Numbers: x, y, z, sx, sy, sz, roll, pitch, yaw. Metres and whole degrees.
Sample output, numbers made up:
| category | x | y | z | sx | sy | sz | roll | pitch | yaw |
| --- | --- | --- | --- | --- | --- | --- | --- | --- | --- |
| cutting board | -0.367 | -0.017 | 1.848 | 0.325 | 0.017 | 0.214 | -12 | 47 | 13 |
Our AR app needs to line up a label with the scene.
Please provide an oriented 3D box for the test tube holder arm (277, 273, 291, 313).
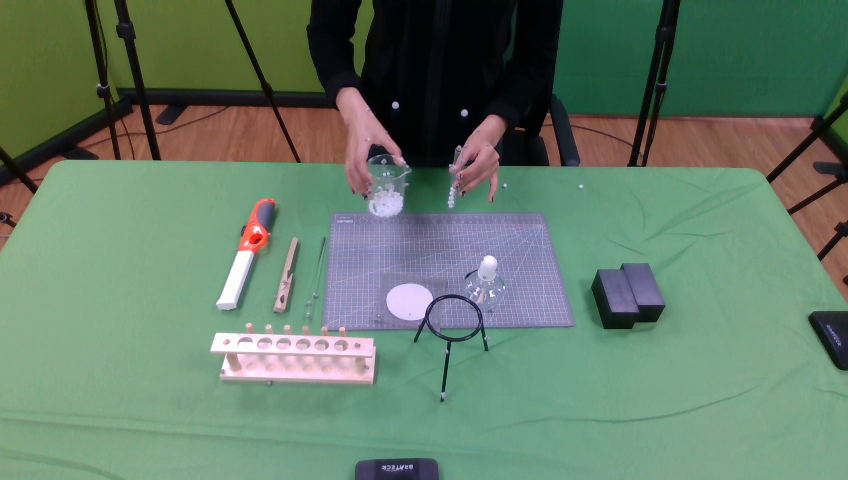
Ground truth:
| category | x | y | z | sx | sy | sz | roll | pitch | yaw |
| --- | --- | --- | --- | --- | --- | --- | --- | --- | --- |
| test tube holder arm | -0.254 | 0.094 | 1.094 | 0.010 | 0.015 | 0.087 | 28 | 39 | -26 |

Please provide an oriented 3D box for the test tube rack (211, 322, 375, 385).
| category | x | y | z | sx | sy | sz | roll | pitch | yaw |
| --- | --- | --- | --- | --- | --- | --- | --- | --- | --- |
| test tube rack | -0.203 | 0.176 | 0.969 | 0.242 | 0.085 | 0.066 | 3 | 46 | -2 |

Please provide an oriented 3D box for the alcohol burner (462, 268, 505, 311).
| category | x | y | z | sx | sy | sz | roll | pitch | yaw |
| --- | --- | --- | --- | --- | --- | --- | --- | --- | --- |
| alcohol burner | 0.108 | 0.071 | 1.072 | 0.078 | 0.119 | 0.077 | 4 | 45 | -3 |

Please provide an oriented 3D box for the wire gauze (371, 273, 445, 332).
| category | x | y | z | sx | sy | sz | roll | pitch | yaw |
| --- | --- | --- | --- | --- | --- | --- | --- | --- | --- |
| wire gauze | -0.028 | 0.109 | 1.099 | 0.125 | 0.011 | 0.121 | 7 | 45 | 4 |

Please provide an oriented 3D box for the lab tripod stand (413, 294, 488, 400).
| category | x | y | z | sx | sy | sz | roll | pitch | yaw |
| --- | --- | --- | --- | --- | --- | --- | --- | --- | --- |
| lab tripod stand | 0.044 | 0.160 | 0.972 | 0.148 | 0.132 | 0.147 | 3 | 44 | -2 |

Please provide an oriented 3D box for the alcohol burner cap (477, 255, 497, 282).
| category | x | y | z | sx | sy | sz | roll | pitch | yaw |
| --- | --- | --- | --- | --- | --- | --- | --- | --- | --- |
| alcohol burner cap | 0.110 | 0.047 | 1.045 | 0.034 | 0.048 | 0.033 | 2 | 52 | -2 |

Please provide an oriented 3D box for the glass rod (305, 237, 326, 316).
| category | x | y | z | sx | sy | sz | roll | pitch | yaw |
| --- | --- | --- | --- | --- | --- | --- | --- | --- | --- |
| glass rod | -0.202 | 0.064 | 1.131 | 0.008 | 0.008 | 0.198 | 4 | 44 | 0 |

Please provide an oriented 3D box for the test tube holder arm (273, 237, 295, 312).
| category | x | y | z | sx | sy | sz | roll | pitch | yaw |
| --- | --- | --- | --- | --- | --- | --- | --- | --- | --- |
| test tube holder arm | -0.259 | 0.059 | 1.123 | 0.013 | 0.015 | 0.177 | 27 | 39 | -26 |

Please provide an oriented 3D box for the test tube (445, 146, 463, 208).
| category | x | y | z | sx | sy | sz | roll | pitch | yaw |
| --- | --- | --- | --- | --- | --- | --- | --- | --- | --- |
| test tube | 0.054 | -0.112 | 1.118 | 0.017 | 0.151 | 0.017 | 4 | 50 | -4 |

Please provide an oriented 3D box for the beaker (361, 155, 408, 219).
| category | x | y | z | sx | sy | sz | roll | pitch | yaw |
| --- | --- | --- | --- | --- | --- | --- | --- | --- | --- |
| beaker | -0.073 | -0.094 | 1.112 | 0.084 | 0.101 | 0.073 | 2 | 45 | -4 |

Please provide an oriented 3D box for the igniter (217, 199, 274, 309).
| category | x | y | z | sx | sy | sz | roll | pitch | yaw |
| --- | --- | --- | --- | --- | --- | --- | --- | --- | --- |
| igniter | -0.336 | 0.018 | 1.152 | 0.057 | 0.025 | 0.275 | -2 | 45 | 8 |
